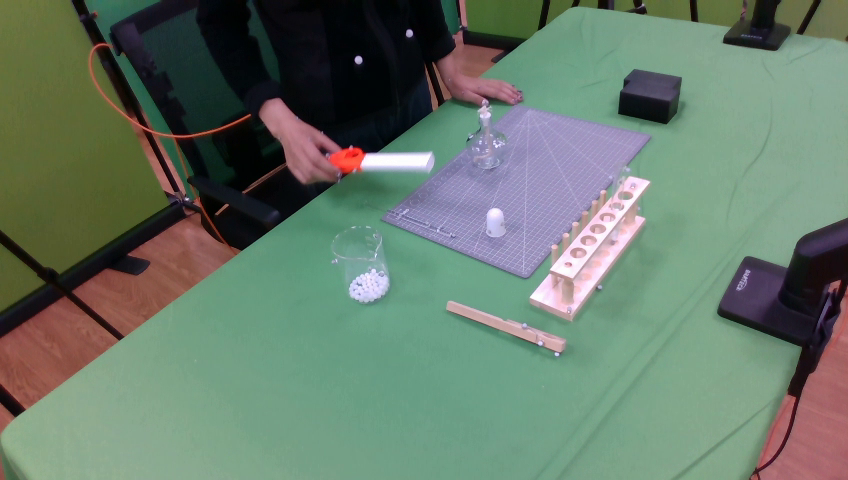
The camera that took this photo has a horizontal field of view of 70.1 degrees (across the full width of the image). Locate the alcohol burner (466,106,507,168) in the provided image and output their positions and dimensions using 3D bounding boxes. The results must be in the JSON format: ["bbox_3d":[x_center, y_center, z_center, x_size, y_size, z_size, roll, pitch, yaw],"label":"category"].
[{"bbox_3d":[0.115,-0.193,1.112,0.078,0.119,0.077,-4,41,4],"label":"alcohol burner"}]

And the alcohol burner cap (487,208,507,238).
[{"bbox_3d":[0.116,-0.030,0.975,0.034,0.048,0.033,-6,40,5],"label":"alcohol burner cap"}]

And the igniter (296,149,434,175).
[{"bbox_3d":[-0.109,-0.131,1.018,0.274,0.025,0.057,5,53,30],"label":"igniter"}]

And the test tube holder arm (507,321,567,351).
[{"bbox_3d":[0.148,0.128,0.808,0.087,0.015,0.010,16,11,28],"label":"test tube holder arm"}]

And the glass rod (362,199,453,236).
[{"bbox_3d":[-0.031,-0.041,1.041,0.198,0.008,0.008,22,50,31],"label":"glass rod"}]

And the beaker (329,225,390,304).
[{"bbox_3d":[-0.089,0.040,0.890,0.074,0.101,0.083,-32,46,-24],"label":"beaker"}]

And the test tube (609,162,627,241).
[{"bbox_3d":[0.277,-0.051,0.864,0.017,0.151,0.017,-6,47,7],"label":"test tube"}]

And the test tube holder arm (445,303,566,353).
[{"bbox_3d":[0.107,0.117,0.824,0.177,0.015,0.013,16,11,27],"label":"test tube holder arm"}]

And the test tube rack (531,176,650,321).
[{"bbox_3d":[0.246,0.002,0.884,0.066,0.085,0.243,22,49,32],"label":"test tube rack"}]
